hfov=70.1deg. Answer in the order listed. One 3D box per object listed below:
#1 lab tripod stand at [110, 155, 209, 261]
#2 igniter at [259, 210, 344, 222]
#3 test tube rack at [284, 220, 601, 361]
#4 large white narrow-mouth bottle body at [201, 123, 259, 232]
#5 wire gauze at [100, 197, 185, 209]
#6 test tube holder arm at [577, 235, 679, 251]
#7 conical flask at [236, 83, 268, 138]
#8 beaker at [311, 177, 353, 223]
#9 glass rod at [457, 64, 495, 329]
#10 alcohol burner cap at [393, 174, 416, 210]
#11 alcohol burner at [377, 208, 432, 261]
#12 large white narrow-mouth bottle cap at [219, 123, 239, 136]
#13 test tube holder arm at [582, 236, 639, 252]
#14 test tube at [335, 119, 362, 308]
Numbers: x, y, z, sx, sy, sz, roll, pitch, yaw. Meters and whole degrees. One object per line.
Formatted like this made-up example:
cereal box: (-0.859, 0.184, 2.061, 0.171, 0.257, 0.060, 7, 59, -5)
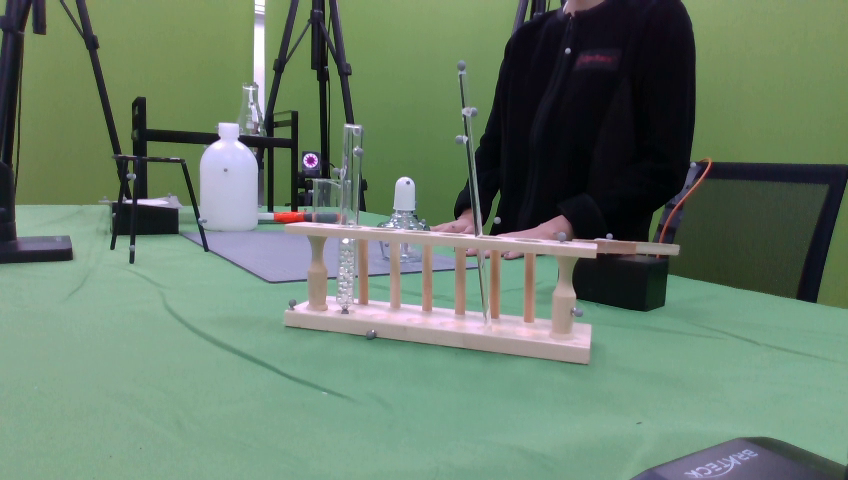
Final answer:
lab tripod stand: (-0.361, -0.046, 0.806, 0.148, 0.131, 0.148, 2, 5, 0)
igniter: (-0.303, -0.049, 1.258, 0.278, 0.025, 0.057, -2, -2, -28)
test tube rack: (0.013, 0.032, 0.482, 0.242, 0.085, 0.067, 4, 7, 16)
large white narrow-mouth bottle body: (-0.358, -0.116, 1.116, 0.102, 0.194, 0.102, 2, 8, 0)
wire gauze: (-0.469, -0.062, 1.008, 0.126, 0.011, 0.121, -2, 8, -25)
test tube holder arm: (0.227, 0.004, 0.661, 0.179, 0.015, 0.013, 1, 14, -39)
conical flask: (-0.400, -0.298, 1.396, 0.075, 0.122, 0.075, 2, 8, 0)
beaker: (-0.167, -0.064, 1.106, 0.074, 0.100, 0.083, -2, 9, -26)
glass rod: (0.040, -0.029, 0.449, 0.008, 0.199, 0.008, -7, 9, 1)
alcohol burner cap: (-0.025, -0.067, 0.833, 0.034, 0.048, 0.034, 4, 12, -1)
alcohol burner: (-0.027, -0.031, 0.838, 0.078, 0.119, 0.078, 0, 6, 0)
large white narrow-mouth bottle cap: (-0.356, -0.201, 1.104, 0.038, 0.024, 0.037, 2, 8, 0)
test tube holder arm: (0.194, 0.004, 0.629, 0.088, 0.015, 0.010, 2, 14, -38)
test tube: (-0.060, -0.019, 0.475, 0.017, 0.150, 0.017, 4, 11, 0)
